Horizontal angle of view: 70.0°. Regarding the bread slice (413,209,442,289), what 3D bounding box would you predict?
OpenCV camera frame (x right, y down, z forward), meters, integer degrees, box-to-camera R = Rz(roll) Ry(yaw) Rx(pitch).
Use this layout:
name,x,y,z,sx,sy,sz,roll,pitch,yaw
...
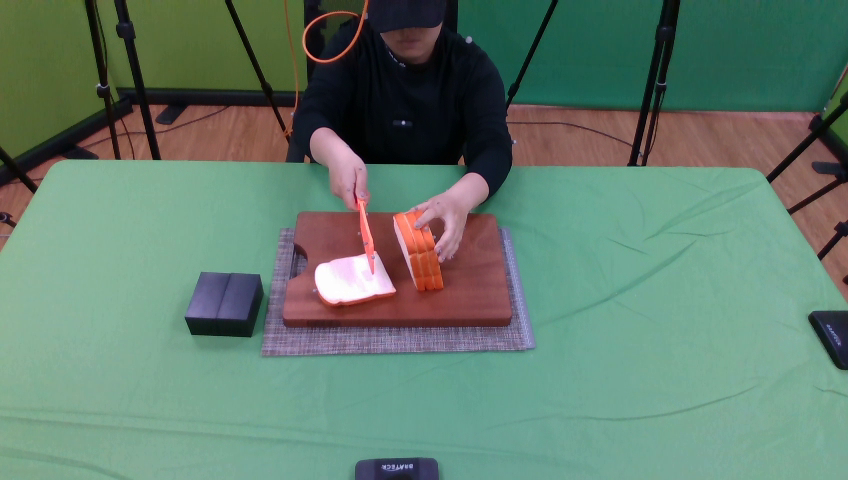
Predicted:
name,x,y,z,sx,sy,sz,roll,pitch,yaw
bread slice,0.005,0.013,1.074,0.018,0.135,0.106,-17,51,-6

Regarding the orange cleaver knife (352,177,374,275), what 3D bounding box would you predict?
name,x,y,z,sx,sy,sz,roll,pitch,yaw
orange cleaver knife,-0.108,-0.028,1.069,0.012,0.077,0.210,-6,44,-11

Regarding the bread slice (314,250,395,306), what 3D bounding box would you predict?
name,x,y,z,sx,sy,sz,roll,pitch,yaw
bread slice,-0.130,0.071,1.077,0.132,0.019,0.104,-11,49,-20
